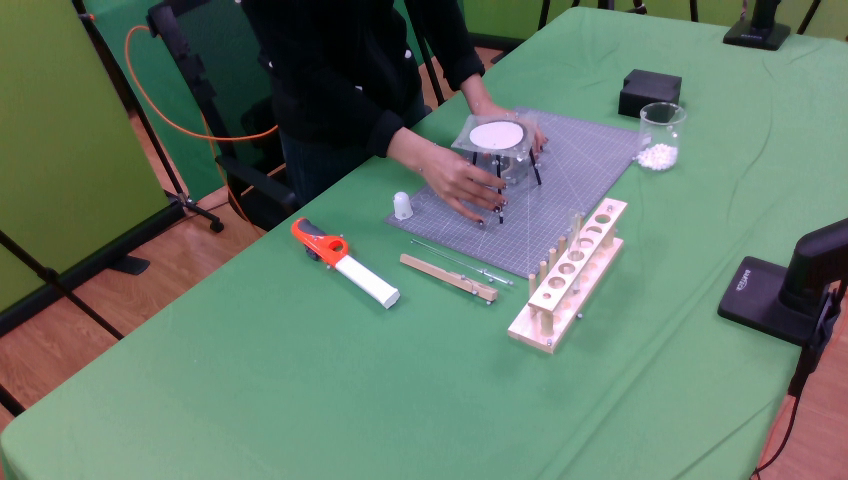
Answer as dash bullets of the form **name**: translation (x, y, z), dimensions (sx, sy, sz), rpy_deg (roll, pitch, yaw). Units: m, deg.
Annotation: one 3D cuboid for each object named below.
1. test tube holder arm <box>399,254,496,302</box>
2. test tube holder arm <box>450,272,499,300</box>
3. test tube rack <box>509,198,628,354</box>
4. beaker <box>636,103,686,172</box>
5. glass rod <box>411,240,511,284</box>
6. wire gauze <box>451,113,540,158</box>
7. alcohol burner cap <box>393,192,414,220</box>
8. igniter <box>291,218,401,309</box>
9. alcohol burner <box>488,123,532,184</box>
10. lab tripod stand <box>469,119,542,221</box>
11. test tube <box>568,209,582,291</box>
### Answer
- **test tube holder arm**: translation (0.032, 0.055, 0.913), dimensions (0.177, 0.015, 0.013), rpy_deg (21, 15, 31)
- **test tube holder arm**: translation (0.071, 0.068, 0.894), dimensions (0.087, 0.015, 0.010), rpy_deg (21, 15, 32)
- **test tube rack**: translation (0.206, 0.039, 0.850), dimensions (0.066, 0.085, 0.243), rpy_deg (20, 48, 31)
- **beaker**: translation (0.413, -0.177, 1.055), dimensions (0.084, 0.101, 0.073), rpy_deg (-28, 44, -21)
- **glass rod**: translation (0.053, 0.033, 0.946), dimensions (0.198, 0.008, 0.008), rpy_deg (22, 50, 36)
- **wire gauze**: translation (0.116, -0.172, 0.969), dimensions (0.124, 0.011, 0.121), rpy_deg (8, 41, 18)
- **alcohol burner cap**: translation (-0.038, -0.061, 1.043), dimensions (0.034, 0.048, 0.033), rpy_deg (-5, 41, 5)
- **igniter**: translation (-0.135, 0.031, 0.970), dimensions (0.057, 0.025, 0.274), rpy_deg (-41, 49, -20)
- **alcohol burner**: translation (0.152, -0.160, 1.069), dimensions (0.078, 0.119, 0.077), rpy_deg (-4, 40, 4)
- **lab tripod stand**: translation (0.134, -0.127, 1.018), dimensions (0.148, 0.132, 0.147), rpy_deg (-5, 38, 4)
- **test tube**: translation (0.200, 0.017, 0.799), dimensions (0.017, 0.151, 0.017), rpy_deg (-8, 45, 8)
